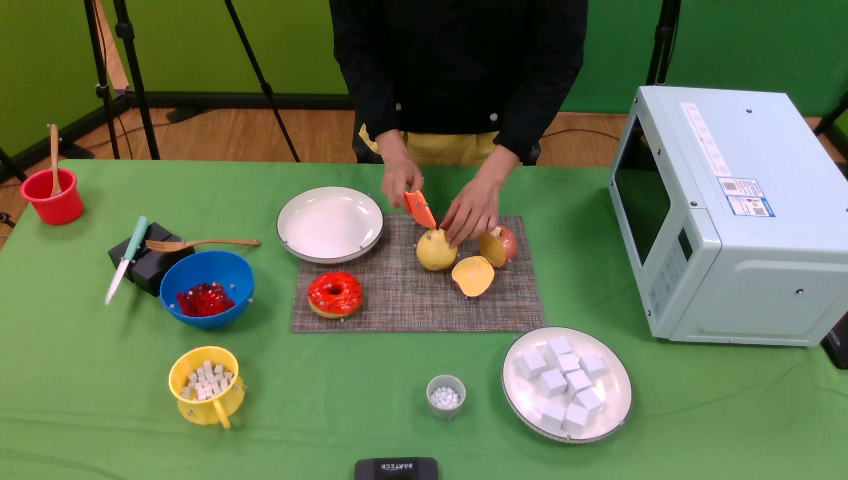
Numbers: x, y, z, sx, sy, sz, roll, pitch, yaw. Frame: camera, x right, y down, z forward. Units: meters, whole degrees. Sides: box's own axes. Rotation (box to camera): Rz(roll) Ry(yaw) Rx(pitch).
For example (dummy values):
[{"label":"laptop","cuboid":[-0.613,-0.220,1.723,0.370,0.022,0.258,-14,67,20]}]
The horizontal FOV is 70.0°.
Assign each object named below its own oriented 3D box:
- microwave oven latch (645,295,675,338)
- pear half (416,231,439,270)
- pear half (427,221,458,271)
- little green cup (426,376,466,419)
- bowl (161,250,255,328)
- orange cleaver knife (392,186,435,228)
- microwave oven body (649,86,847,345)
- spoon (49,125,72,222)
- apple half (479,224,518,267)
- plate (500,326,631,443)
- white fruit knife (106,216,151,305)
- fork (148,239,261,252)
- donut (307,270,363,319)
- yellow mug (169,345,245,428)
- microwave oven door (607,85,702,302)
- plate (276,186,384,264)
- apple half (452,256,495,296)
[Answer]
[{"label":"microwave oven latch","cuboid":[0.412,0.134,1.061,0.030,0.029,0.078,3,45,0]},{"label":"pear half","cuboid":[0.003,0.020,1.127,0.031,0.088,0.070,-20,54,-22]},{"label":"pear half","cuboid":[0.036,0.003,1.132,0.056,0.110,0.076,-19,52,-21]},{"label":"little green cup","cuboid":[0.033,0.248,0.950,0.061,0.039,0.061,2,46,-2]},{"label":"bowl","cuboid":[-0.362,0.097,1.040,0.151,0.077,0.150,2,45,-2]},{"label":"orange cleaver knife","cuboid":[-0.020,-0.062,1.096,0.012,0.077,0.210,-24,15,-11]},{"label":"microwave oven body","cuboid":[0.567,-0.053,1.118,0.326,0.261,0.439,2,45,-1]},{"label":"spoon","cuboid":[-0.717,-0.131,1.189,0.041,0.021,0.193,-3,90,-7]},{"label":"apple half","cuboid":[0.148,0.008,1.160,0.053,0.075,0.080,-24,48,-30]},{"label":"plate","cuboid":[0.224,0.234,0.978,0.208,0.039,0.206,2,46,-2]},{"label":"white fruit knife","cuboid":[-0.519,0.032,1.066,0.027,0.016,0.206,-18,45,19]},{"label":"fork","cuboid":[-0.399,0.007,1.118,0.208,0.019,0.028,-4,35,-37]},{"label":"donut","cuboid":[-0.157,0.097,1.073,0.099,0.048,0.098,4,46,-4]},{"label":"yellow mug","cuboid":[-0.322,0.230,0.922,0.100,0.064,0.130,-24,53,-25]},{"label":"microwave oven door","cuboid":[0.423,-0.094,1.140,0.039,0.245,0.353,2,46,-1]},{"label":"plate","cuboid":[-0.184,-0.027,1.194,0.209,0.038,0.208,2,46,-2]},{"label":"apple half","cuboid":[0.095,0.070,1.120,0.081,0.033,0.081,-7,62,13]}]
